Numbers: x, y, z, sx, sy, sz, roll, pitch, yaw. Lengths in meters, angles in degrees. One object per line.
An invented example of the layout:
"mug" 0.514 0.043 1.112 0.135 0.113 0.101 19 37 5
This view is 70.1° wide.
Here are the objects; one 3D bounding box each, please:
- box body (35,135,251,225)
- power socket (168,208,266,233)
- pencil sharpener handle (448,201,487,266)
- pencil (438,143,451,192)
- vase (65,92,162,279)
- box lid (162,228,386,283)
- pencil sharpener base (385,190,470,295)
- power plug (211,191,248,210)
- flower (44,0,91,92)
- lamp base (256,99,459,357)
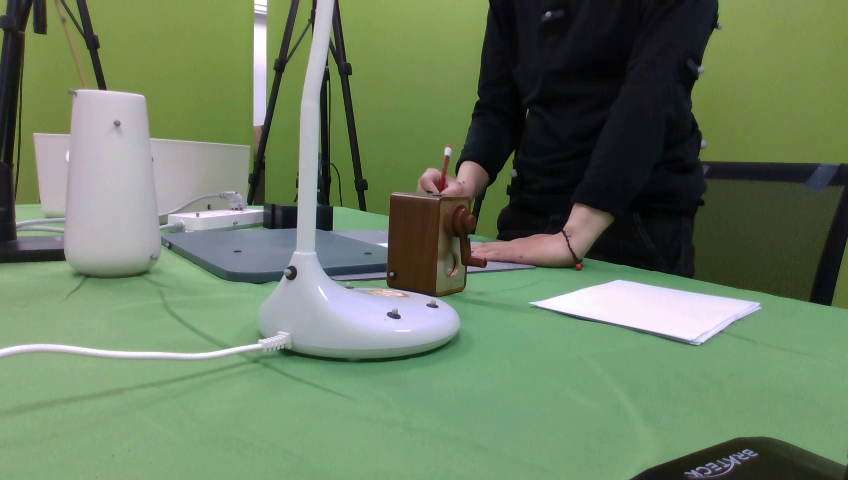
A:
"box body" -0.559 -0.127 1.257 0.253 0.160 0.365 4 8 15
"power socket" -0.379 -0.038 1.129 0.072 0.032 0.227 4 8 18
"pencil sharpener handle" 0.049 -0.006 0.623 0.030 0.068 0.036 8 22 37
"pencil" 0.030 -0.099 1.007 0.012 0.012 0.194 3 47 8
"vase" -0.347 -0.060 0.673 0.098 0.200 0.098 1 7 0
"box lid" -0.200 0.014 0.861 0.265 0.015 0.369 -4 10 -35
"pencil sharpener base" 0.006 0.001 0.653 0.076 0.107 0.061 8 9 37
"power plug" -0.384 -0.071 1.205 0.072 0.052 0.035 1 8 28
"flower" -0.361 -0.142 0.663 0.044 0.361 0.038 -12 11 30
"lamp base" -0.055 -0.013 0.463 0.160 0.180 0.180 6 11 27
